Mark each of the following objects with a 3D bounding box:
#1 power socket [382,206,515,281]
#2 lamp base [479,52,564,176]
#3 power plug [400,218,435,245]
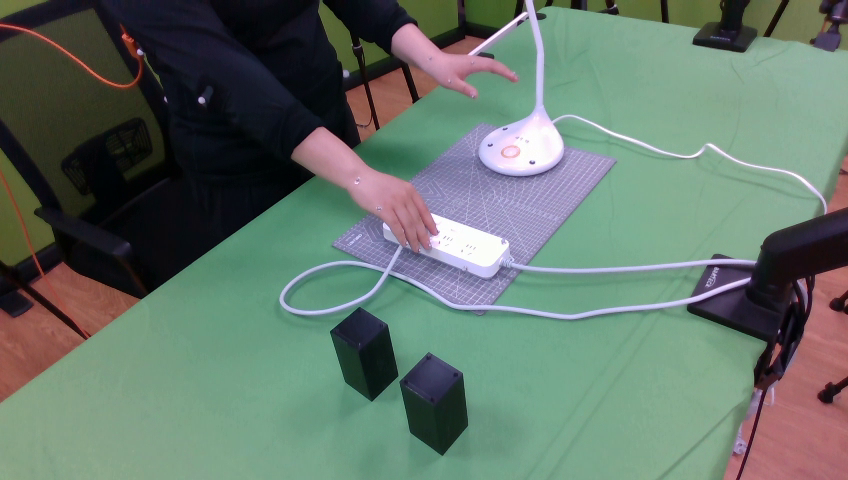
[{"bbox_3d":[0.032,0.002,0.950,0.225,0.033,0.072,21,49,29],"label":"power socket"},{"bbox_3d":[0.181,-0.235,1.093,0.159,0.181,0.179,18,44,27],"label":"lamp base"},{"bbox_3d":[-0.015,-0.005,0.938,0.073,0.053,0.035,-37,48,-24],"label":"power plug"}]
